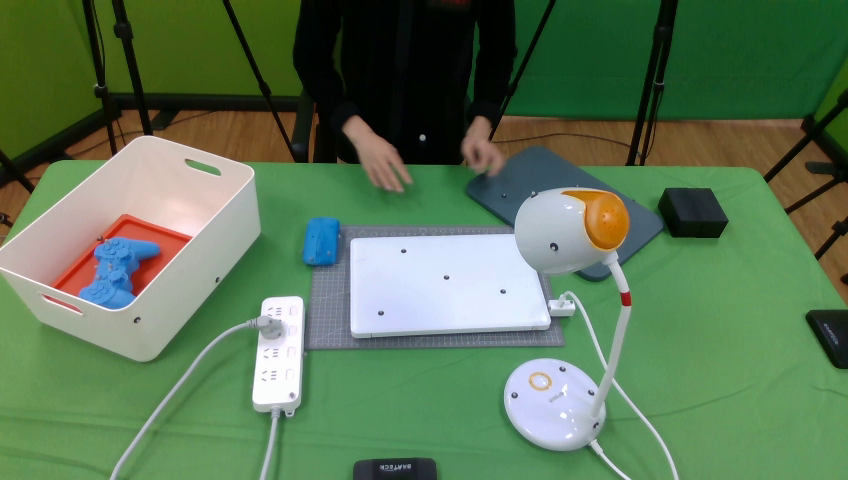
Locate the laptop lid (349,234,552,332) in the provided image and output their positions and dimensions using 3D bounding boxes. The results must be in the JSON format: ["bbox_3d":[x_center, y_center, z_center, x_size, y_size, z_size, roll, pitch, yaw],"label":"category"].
[{"bbox_3d":[0.040,0.071,1.117,0.357,0.013,0.240,0,44,-5],"label":"laptop lid"}]

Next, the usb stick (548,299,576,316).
[{"bbox_3d":[0.239,0.121,1.084,0.059,0.027,0.021,-1,51,-1],"label":"usb stick"}]

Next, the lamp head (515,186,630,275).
[{"bbox_3d":[0.188,-0.013,0.728,0.112,0.112,0.122,-25,9,-25],"label":"lamp head"}]

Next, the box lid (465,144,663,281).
[{"bbox_3d":[0.297,-0.072,1.298,0.263,0.015,0.369,-33,56,-31],"label":"box lid"}]

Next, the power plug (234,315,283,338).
[{"bbox_3d":[-0.270,0.143,1.000,0.072,0.053,0.035,4,47,2],"label":"power plug"}]

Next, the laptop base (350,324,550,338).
[{"bbox_3d":[0.039,0.081,1.124,0.355,0.023,0.234,-2,43,-6],"label":"laptop base"}]

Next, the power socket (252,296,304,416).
[{"bbox_3d":[-0.238,0.182,0.997,0.072,0.033,0.225,-3,47,-5],"label":"power socket"}]

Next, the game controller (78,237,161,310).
[{"bbox_3d":[-0.496,0.055,0.986,0.097,0.052,0.154,-4,47,-3],"label":"game controller"}]

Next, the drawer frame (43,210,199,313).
[{"bbox_3d":[-0.488,0.067,1.042,0.201,0.083,0.212,15,53,13],"label":"drawer frame"}]

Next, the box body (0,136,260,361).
[{"bbox_3d":[-0.483,0.006,1.056,0.254,0.161,0.362,17,47,12],"label":"box body"}]

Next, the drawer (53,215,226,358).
[{"bbox_3d":[-0.490,0.077,1.059,0.194,0.073,0.211,17,58,10],"label":"drawer"}]

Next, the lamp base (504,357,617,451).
[{"bbox_3d":[0.220,0.211,0.903,0.160,0.181,0.178,-33,59,-30],"label":"lamp base"}]

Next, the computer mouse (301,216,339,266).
[{"bbox_3d":[-0.200,-0.002,1.169,0.063,0.041,0.116,3,50,-3],"label":"computer mouse"}]
